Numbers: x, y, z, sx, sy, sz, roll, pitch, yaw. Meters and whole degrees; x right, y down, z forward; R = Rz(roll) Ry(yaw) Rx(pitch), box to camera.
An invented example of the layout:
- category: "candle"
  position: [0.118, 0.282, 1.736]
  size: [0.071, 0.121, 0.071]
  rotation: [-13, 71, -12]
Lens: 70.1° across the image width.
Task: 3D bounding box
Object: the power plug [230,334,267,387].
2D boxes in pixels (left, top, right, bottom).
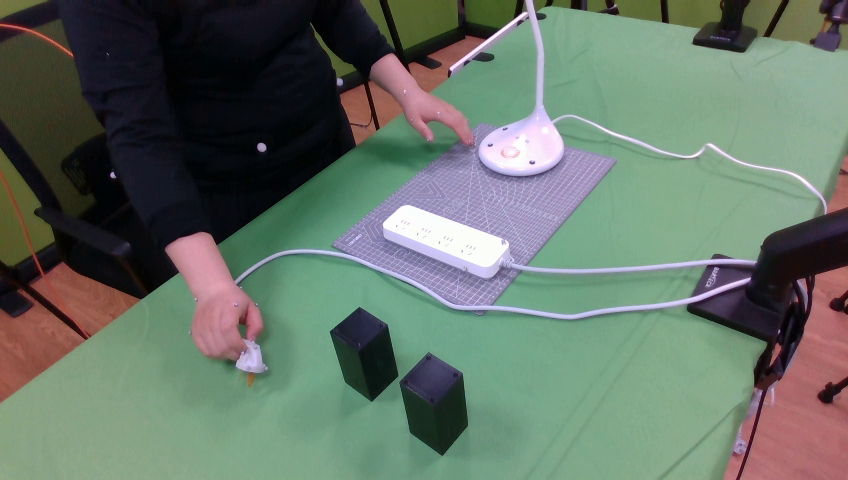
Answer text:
- category: "power plug"
  position: [-0.231, 0.157, 0.787]
  size: [0.035, 0.052, 0.072]
  rotation: [17, -2, -38]

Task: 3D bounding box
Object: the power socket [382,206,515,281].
- category: "power socket"
  position: [0.032, 0.002, 0.950]
  size: [0.225, 0.033, 0.072]
  rotation: [21, 49, 29]

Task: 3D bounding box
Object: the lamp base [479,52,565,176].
- category: "lamp base"
  position: [0.182, -0.235, 1.093]
  size: [0.159, 0.181, 0.179]
  rotation: [18, 44, 27]
